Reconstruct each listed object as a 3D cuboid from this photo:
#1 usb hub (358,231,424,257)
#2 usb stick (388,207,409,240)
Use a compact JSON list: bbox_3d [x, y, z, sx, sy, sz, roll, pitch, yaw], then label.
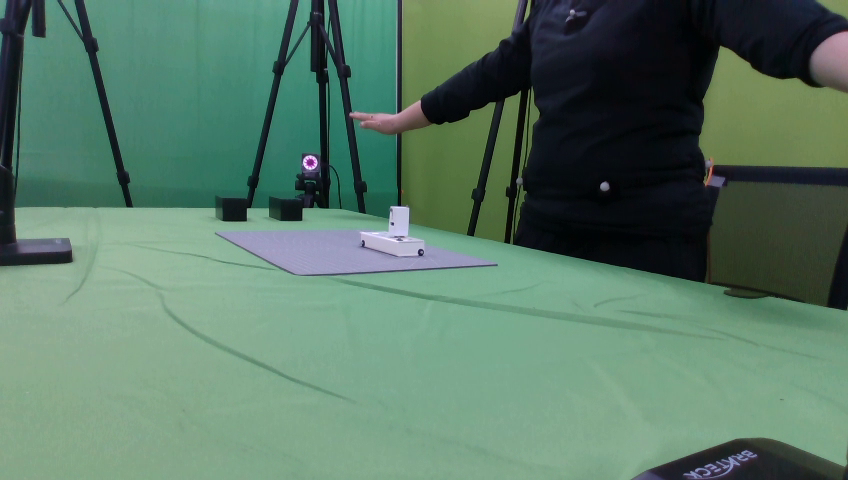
[{"bbox_3d":[-0.054,0.005,0.947,0.050,0.025,0.124,-3,9,-34],"label":"usb hub"},{"bbox_3d":[-0.040,-0.021,0.931,0.027,0.059,0.021,-5,11,-37],"label":"usb stick"}]
